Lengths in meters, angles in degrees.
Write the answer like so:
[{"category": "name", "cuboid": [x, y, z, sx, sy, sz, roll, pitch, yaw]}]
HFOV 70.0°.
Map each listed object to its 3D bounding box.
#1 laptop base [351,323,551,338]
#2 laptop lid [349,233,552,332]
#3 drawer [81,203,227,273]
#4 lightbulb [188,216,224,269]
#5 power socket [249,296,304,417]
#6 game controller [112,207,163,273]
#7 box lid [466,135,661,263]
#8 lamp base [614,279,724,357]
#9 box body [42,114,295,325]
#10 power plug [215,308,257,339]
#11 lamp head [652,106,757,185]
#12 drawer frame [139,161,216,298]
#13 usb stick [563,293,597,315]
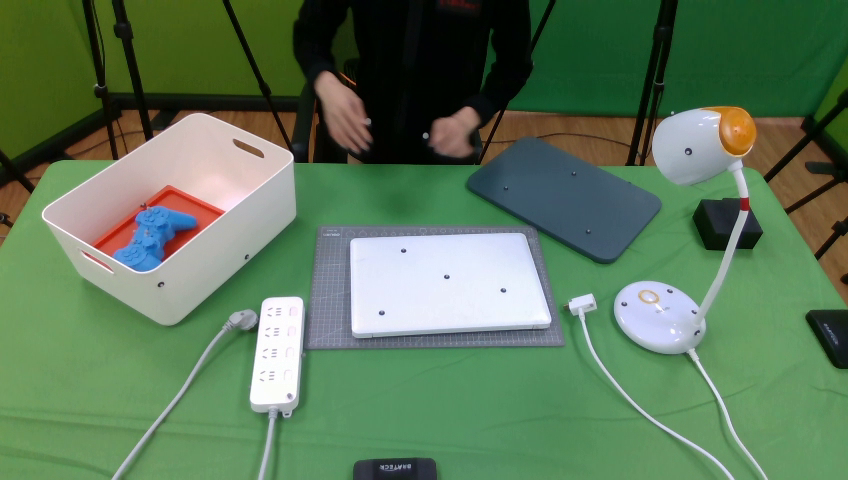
[{"category": "laptop base", "cuboid": [0.039, 0.080, 1.125, 0.355, 0.023, 0.234, -2, 43, -6]}, {"category": "laptop lid", "cuboid": [0.040, 0.070, 1.119, 0.357, 0.013, 0.240, -1, 44, -5]}, {"category": "drawer", "cuboid": [-0.456, 0.009, 1.088, 0.194, 0.073, 0.211, 24, 43, 17]}, {"category": "lightbulb", "cuboid": [-0.405, 0.005, 1.112, 0.059, 0.060, 0.107, 7, 58, 2]}, {"category": "power socket", "cuboid": [-0.239, 0.182, 0.996, 0.072, 0.033, 0.225, -2, 47, -5]}, {"category": "game controller", "cuboid": [-0.463, 0.001, 1.040, 0.097, 0.052, 0.154, 4, 46, 4]}, {"category": "box lid", "cuboid": [0.306, -0.102, 1.327, 0.370, 0.015, 0.263, 32, 52, 25]}, {"category": "lamp base", "cuboid": [0.436, 0.090, 1.035, 0.161, 0.181, 0.178, -23, 55, -23]}, {"category": "box body", "cuboid": [-0.437, -0.046, 1.110, 0.253, 0.161, 0.363, 24, 49, 19]}, {"category": "power plug", "cuboid": [-0.317, 0.143, 1.024, 0.072, 0.053, 0.035, -32, 58, -8]}, {"category": "lamp head", "cuboid": [0.410, -0.139, 0.869, 0.113, 0.122, 0.112, 0, 89, -19]}, {"category": "drawer frame", "cuboid": [-0.435, -0.026, 1.063, 0.083, 0.214, 0.201, -9, 13, -30]}, {"category": "usb stick", "cuboid": [0.280, 0.118, 1.093, 0.059, 0.021, 0.027, -18, 35, 25]}]
